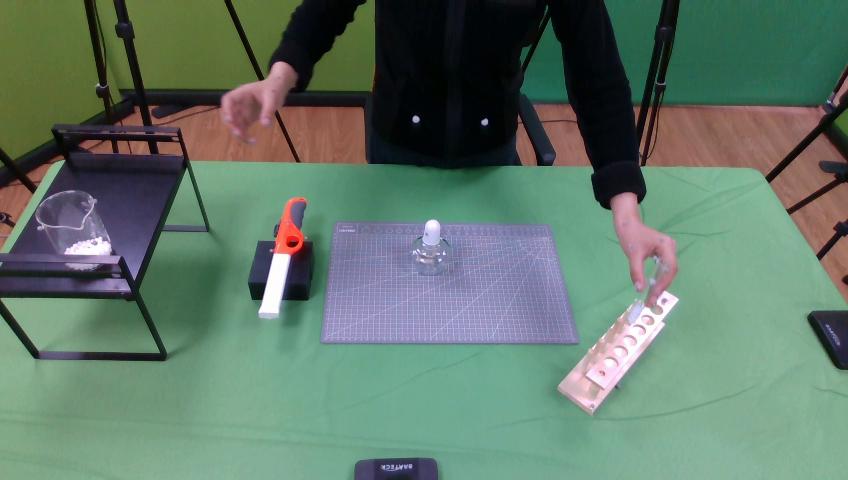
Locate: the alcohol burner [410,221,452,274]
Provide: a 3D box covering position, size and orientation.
[{"bbox_3d":[0.013,0.008,1.120,0.078,0.120,0.077,1,48,-1],"label":"alcohol burner"}]

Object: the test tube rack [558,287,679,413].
[{"bbox_3d":[0.326,0.170,1.009,0.066,0.085,0.242,36,54,26],"label":"test tube rack"}]

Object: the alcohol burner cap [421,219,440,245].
[{"bbox_3d":[0.013,-0.018,1.094,0.034,0.048,0.033,5,43,-4],"label":"alcohol burner cap"}]

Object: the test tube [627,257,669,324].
[{"bbox_3d":[0.328,0.078,0.893,0.017,0.151,0.017,2,48,-2],"label":"test tube"}]

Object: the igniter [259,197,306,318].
[{"bbox_3d":[-0.252,0.021,1.088,0.057,0.025,0.275,5,48,-3],"label":"igniter"}]

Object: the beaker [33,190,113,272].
[{"bbox_3d":[-0.493,-0.009,0.864,0.083,0.101,0.074,37,55,27],"label":"beaker"}]
